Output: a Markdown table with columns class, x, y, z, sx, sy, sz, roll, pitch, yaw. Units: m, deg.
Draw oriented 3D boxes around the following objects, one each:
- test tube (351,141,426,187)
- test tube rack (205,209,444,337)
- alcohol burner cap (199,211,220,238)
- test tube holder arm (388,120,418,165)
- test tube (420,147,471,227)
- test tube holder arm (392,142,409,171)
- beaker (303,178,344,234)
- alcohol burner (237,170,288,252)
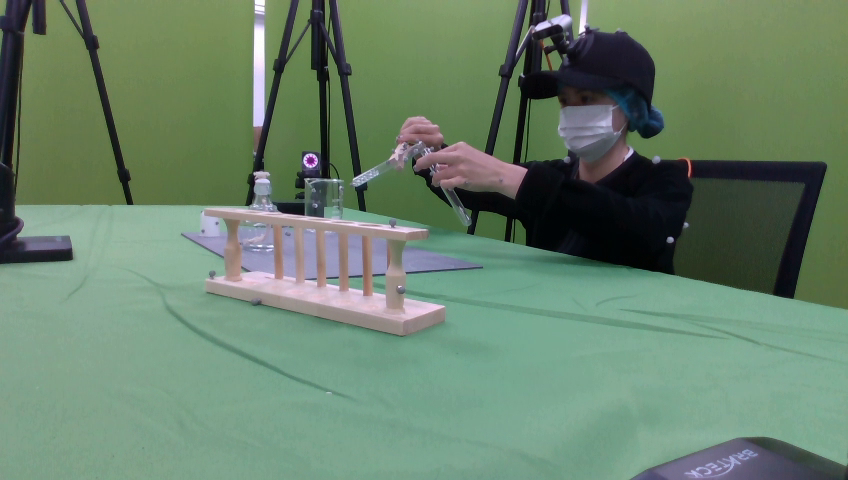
| class | x | y | z | sx | sy | sz | roll | pitch | yaw |
| --- | --- | --- | --- | --- | --- | --- | --- | --- | --- |
| test tube | -0.062 | -0.125 | 1.011 | 0.150 | 0.017 | 0.017 | -25 | -4 | 23 |
| test tube rack | -0.100 | 0.021 | 0.565 | 0.241 | 0.085 | 0.067 | 7 | 8 | 32 |
| alcohol burner cap | -0.356 | -0.027 | 1.002 | 0.034 | 0.048 | 0.034 | 3 | 7 | 0 |
| test tube holder arm | -0.034 | -0.174 | 1.057 | 0.015 | 0.013 | 0.178 | -19 | 27 | 23 |
| test tube | 0.034 | -0.084 | 0.958 | 0.017 | 0.150 | 0.017 | -27 | -17 | -8 |
| test tube holder arm | -0.039 | -0.144 | 1.023 | 0.015 | 0.010 | 0.088 | -19 | 32 | 23 |
| beaker | -0.189 | -0.063 | 1.119 | 0.073 | 0.100 | 0.084 | 6 | 9 | 28 |
| alcohol burner | -0.236 | -0.042 | 0.882 | 0.078 | 0.119 | 0.078 | 2 | 9 | 0 |
